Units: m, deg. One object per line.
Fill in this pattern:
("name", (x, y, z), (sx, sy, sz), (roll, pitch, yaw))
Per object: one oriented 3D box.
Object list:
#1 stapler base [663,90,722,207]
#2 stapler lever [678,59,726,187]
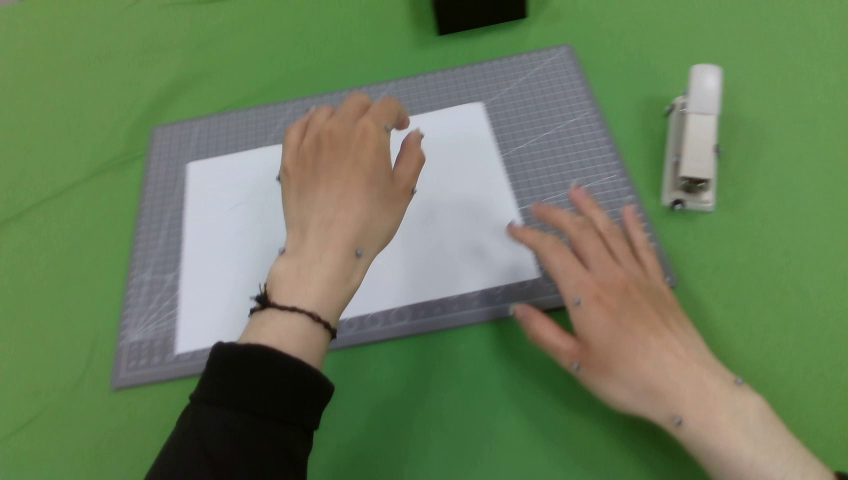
("stapler base", (0.235, -0.087, 0.523), (0.041, 0.025, 0.129), (8, 60, 19))
("stapler lever", (0.231, -0.100, 0.501), (0.026, 0.040, 0.117), (8, 60, 19))
